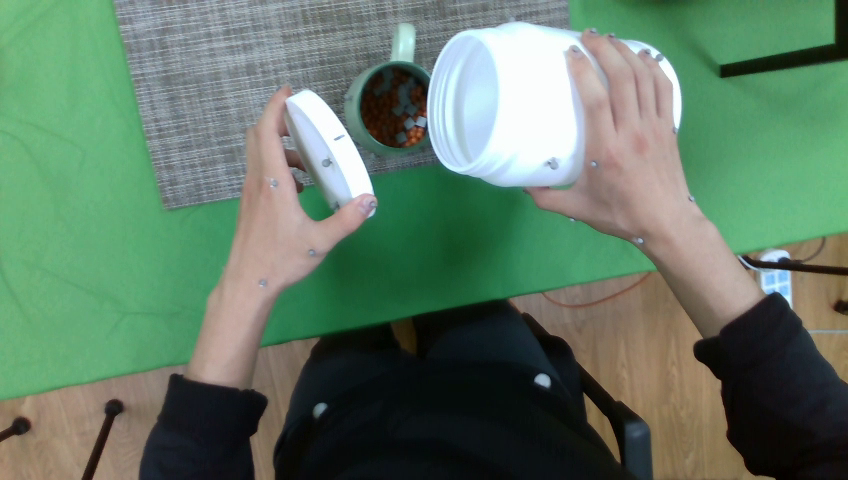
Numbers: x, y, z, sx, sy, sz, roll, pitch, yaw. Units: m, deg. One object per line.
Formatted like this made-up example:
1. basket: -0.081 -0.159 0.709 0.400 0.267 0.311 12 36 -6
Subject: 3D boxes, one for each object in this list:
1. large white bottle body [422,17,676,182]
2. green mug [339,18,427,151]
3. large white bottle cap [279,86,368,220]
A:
1. large white bottle body: 0.103 -0.115 0.515 0.185 0.129 0.131 -3 101 -29
2. green mug: -0.033 -0.149 0.584 0.093 0.104 0.125 5 99 -11
3. large white bottle cap: -0.083 -0.070 0.497 0.018 0.114 0.115 -32 105 -18
